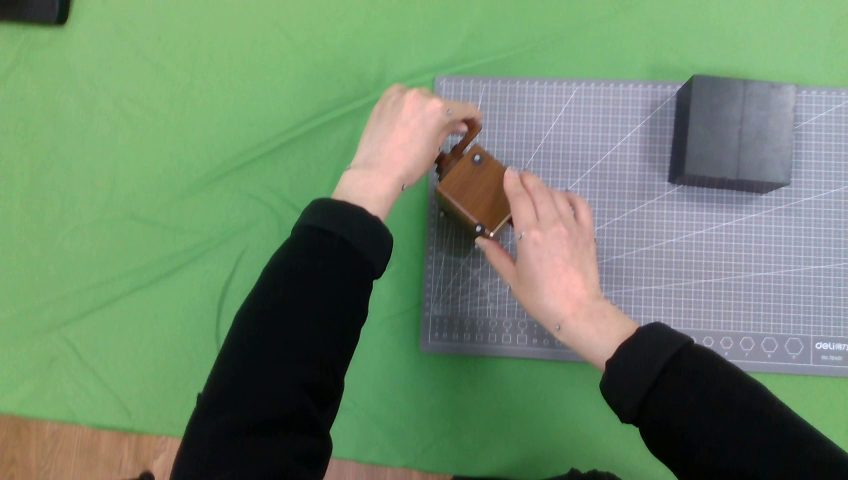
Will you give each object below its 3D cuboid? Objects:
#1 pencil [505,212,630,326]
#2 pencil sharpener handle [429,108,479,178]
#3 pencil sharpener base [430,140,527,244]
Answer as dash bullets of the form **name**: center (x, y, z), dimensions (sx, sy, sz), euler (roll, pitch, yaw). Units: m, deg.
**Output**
- **pencil**: center (0.117, 0.012, 0.564), dimensions (0.194, 0.012, 0.012), euler (43, 89, 2)
- **pencil sharpener handle**: center (0.022, -0.093, 0.577), dimensions (0.030, 0.036, 0.067), euler (42, 81, 7)
- **pencil sharpener base**: center (0.052, -0.045, 0.598), dimensions (0.076, 0.107, 0.061), euler (42, 89, 7)
